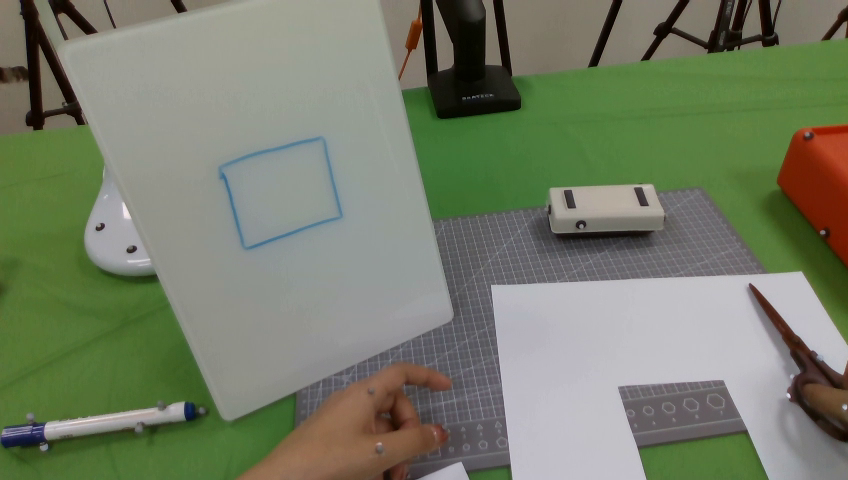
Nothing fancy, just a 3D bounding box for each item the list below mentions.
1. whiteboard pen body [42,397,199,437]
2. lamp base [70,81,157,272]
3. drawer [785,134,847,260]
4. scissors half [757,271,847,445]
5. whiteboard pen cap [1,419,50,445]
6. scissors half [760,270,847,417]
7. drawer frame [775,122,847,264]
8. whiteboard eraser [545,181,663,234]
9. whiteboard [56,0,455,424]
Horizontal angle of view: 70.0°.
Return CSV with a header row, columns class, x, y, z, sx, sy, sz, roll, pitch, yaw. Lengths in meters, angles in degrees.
class,x,y,z,sx,sy,sz,roll,pitch,yaw
whiteboard pen body,-0.257,0.146,0.492,0.141,0.017,0.017,-7,41,-8
lamp base,-0.310,-0.083,0.635,0.178,0.182,0.160,21,47,29
drawer,0.496,-0.027,0.577,0.194,0.074,0.209,-6,41,0
scissors half,0.305,0.088,0.503,0.040,0.013,0.173,9,43,2
whiteboard pen cap,-0.316,0.153,0.484,0.033,0.018,0.018,-5,41,-11
scissors half,0.324,0.090,0.505,0.040,0.013,0.173,3,44,-13
drawer frame,0.495,-0.032,0.582,0.202,0.083,0.211,-7,41,-1
whiteboard eraser,0.187,-0.032,0.635,0.112,0.042,0.055,-2,40,2
whiteboard,-0.126,-0.043,0.524,0.217,0.308,0.142,-22,25,-17
